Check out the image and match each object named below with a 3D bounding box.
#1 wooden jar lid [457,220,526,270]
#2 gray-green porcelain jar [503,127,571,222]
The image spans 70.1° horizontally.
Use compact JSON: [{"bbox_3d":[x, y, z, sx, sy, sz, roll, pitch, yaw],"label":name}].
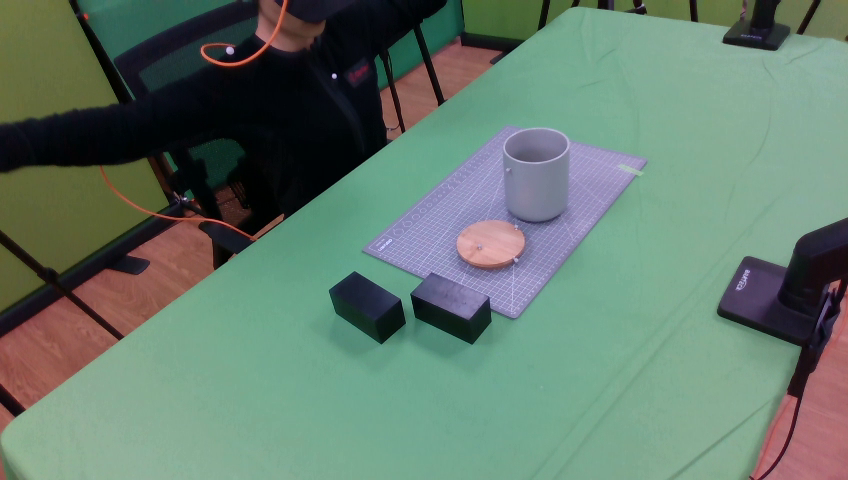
[{"bbox_3d":[0.106,0.009,0.950,0.108,0.021,0.108,-4,40,4],"label":"wooden jar lid"},{"bbox_3d":[0.184,-0.102,0.983,0.106,0.127,0.105,-5,40,5],"label":"gray-green porcelain jar"}]
